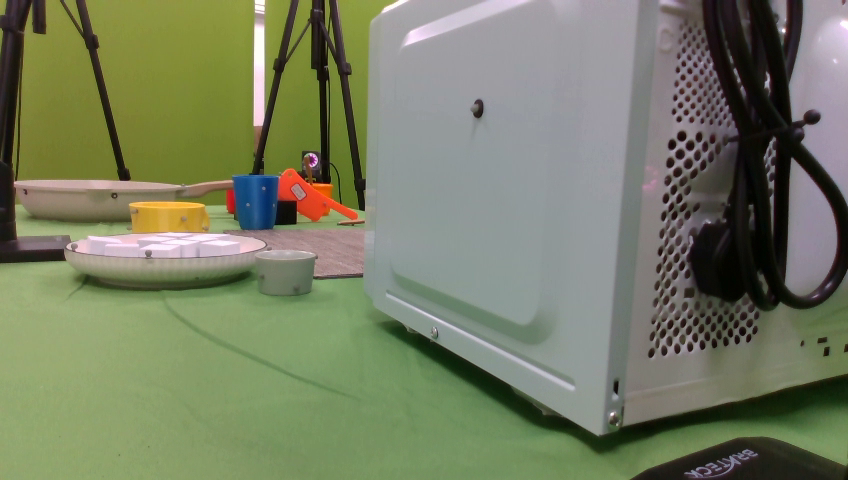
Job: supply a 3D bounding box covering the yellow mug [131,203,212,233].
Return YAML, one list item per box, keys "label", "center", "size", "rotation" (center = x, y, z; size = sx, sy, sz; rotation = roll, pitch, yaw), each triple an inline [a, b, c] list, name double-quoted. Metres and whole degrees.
- label: "yellow mug"
  center: [-0.356, -0.020, 0.878]
  size: [0.099, 0.064, 0.131]
  rotation: [4, 7, 22]

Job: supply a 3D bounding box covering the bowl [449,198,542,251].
- label: "bowl"
  center: [0.114, -0.025, 0.988]
  size: [0.151, 0.077, 0.151]
  rotation: [2, 8, 0]

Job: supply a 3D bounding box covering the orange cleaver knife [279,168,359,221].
- label: "orange cleaver knife"
  center: [-0.236, -0.084, 1.333]
  size: [0.212, 0.077, 0.012]
  rotation: [31, -10, -32]

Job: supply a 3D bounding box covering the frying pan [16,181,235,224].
- label: "frying pan"
  center: [-0.553, -0.096, 1.266]
  size: [0.490, 0.102, 0.305]
  rotation: [-10, 13, -24]

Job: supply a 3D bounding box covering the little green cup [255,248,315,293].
- label: "little green cup"
  center: [-0.144, 0.031, 0.627]
  size: [0.061, 0.038, 0.061]
  rotation: [3, 7, 0]

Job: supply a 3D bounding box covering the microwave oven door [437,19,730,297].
- label: "microwave oven door"
  center: [0.181, -0.076, 0.618]
  size: [0.358, 0.243, 0.039]
  rotation: [-2, 8, -28]

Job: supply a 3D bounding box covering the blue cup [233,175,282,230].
- label: "blue cup"
  center: [-0.314, -0.071, 1.141]
  size: [0.093, 0.100, 0.092]
  rotation: [0, 7, 0]

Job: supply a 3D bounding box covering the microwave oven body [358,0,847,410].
- label: "microwave oven body"
  center: [0.210, -0.051, 0.471]
  size: [0.444, 0.260, 0.324]
  rotation: [-1, 7, -28]

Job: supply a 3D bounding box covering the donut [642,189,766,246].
- label: "donut"
  center: [0.238, -0.018, 0.519]
  size: [0.099, 0.048, 0.099]
  rotation: [5, 3, 0]

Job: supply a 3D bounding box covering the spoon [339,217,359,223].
- label: "spoon"
  center: [-0.087, -0.041, 1.268]
  size: [0.193, 0.021, 0.041]
  rotation: [4, 25, 13]

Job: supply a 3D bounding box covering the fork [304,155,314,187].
- label: "fork"
  center: [-0.268, -0.134, 1.447]
  size: [0.028, 0.018, 0.207]
  rotation: [2, -36, -1]

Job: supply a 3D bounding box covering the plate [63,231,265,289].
- label: "plate"
  center: [-0.288, 0.021, 0.687]
  size: [0.208, 0.039, 0.207]
  rotation: [2, 8, 0]

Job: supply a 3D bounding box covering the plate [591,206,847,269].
- label: "plate"
  center: [0.247, -0.004, 0.509]
  size: [0.209, 0.038, 0.209]
  rotation: [3, 5, 0]

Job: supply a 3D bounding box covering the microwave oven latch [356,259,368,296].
- label: "microwave oven latch"
  center: [-0.019, 0.031, 0.528]
  size: [0.079, 0.029, 0.030]
  rotation: [-1, 7, -25]
